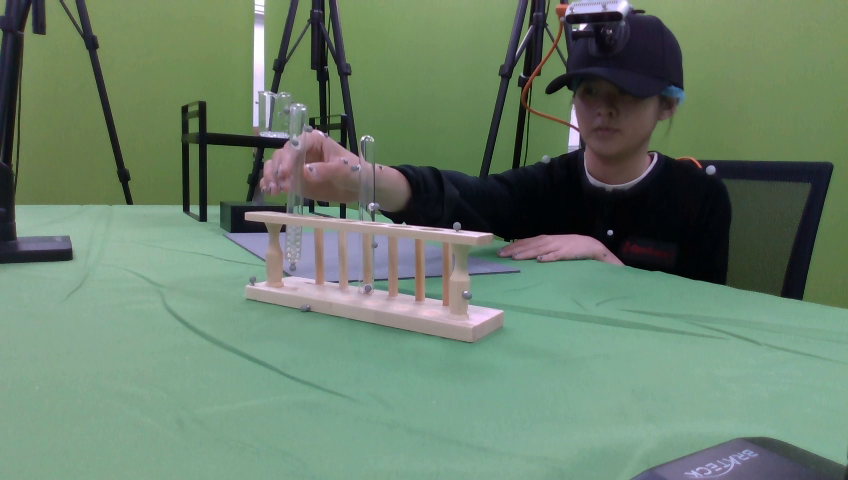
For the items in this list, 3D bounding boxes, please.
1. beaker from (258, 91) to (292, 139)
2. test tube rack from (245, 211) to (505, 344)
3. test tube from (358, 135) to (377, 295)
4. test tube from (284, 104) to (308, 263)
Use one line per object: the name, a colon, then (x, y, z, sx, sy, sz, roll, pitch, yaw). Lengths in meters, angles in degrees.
beaker: (-0.331, -0.276, 1.343, 0.074, 0.100, 0.083, 0, 8, -20)
test tube rack: (-0.049, 0.025, 0.547, 0.241, 0.085, 0.067, 7, 8, 28)
test tube: (-0.053, -0.022, 0.565, 0.017, 0.150, 0.017, 2, 7, 0)
test tube: (-0.120, -0.053, 0.566, 0.017, 0.150, 0.017, 2, -4, 0)
